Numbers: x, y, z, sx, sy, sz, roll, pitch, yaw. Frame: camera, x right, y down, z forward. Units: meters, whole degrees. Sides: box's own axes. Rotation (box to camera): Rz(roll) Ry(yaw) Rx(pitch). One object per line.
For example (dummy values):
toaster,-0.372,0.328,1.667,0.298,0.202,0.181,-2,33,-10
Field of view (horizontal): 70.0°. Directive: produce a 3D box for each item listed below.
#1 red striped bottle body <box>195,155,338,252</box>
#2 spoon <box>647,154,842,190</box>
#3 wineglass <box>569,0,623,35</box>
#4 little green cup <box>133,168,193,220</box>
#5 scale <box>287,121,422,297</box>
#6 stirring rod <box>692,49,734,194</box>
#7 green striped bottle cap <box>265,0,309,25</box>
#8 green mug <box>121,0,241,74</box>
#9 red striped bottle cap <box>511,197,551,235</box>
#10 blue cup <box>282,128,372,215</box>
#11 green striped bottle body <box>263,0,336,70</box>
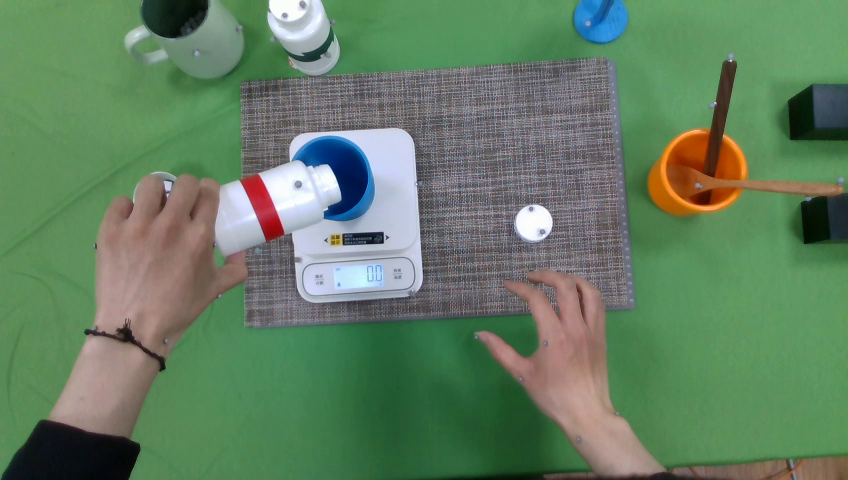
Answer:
red striped bottle body,-0.142,-0.038,0.560,0.120,0.063,0.063,-23,83,-17
spoon,0.329,-0.069,0.642,0.022,0.192,0.041,9,92,-40
wineglass,0.205,-0.291,0.655,0.074,0.172,0.073,0,84,3
little green cup,-0.307,-0.052,0.719,0.061,0.039,0.061,0,83,1
scale,-0.082,-0.038,0.710,0.148,0.031,0.200,-4,85,2
stirring rod,0.307,-0.120,0.648,0.014,0.178,0.006,4,44,16
green striped bottle cap,-0.145,-0.253,0.640,0.044,0.020,0.044,0,83,2
green mug,-0.287,-0.244,0.705,0.125,0.105,0.092,-26,84,0
red striped bottle cap,0.126,-0.028,0.708,0.044,0.018,0.044,0,82,-2
blue cup,-0.093,-0.065,0.647,0.092,0.100,0.092,0,86,3
green striped bottle body,-0.142,-0.246,0.692,0.063,0.119,0.063,0,83,3
